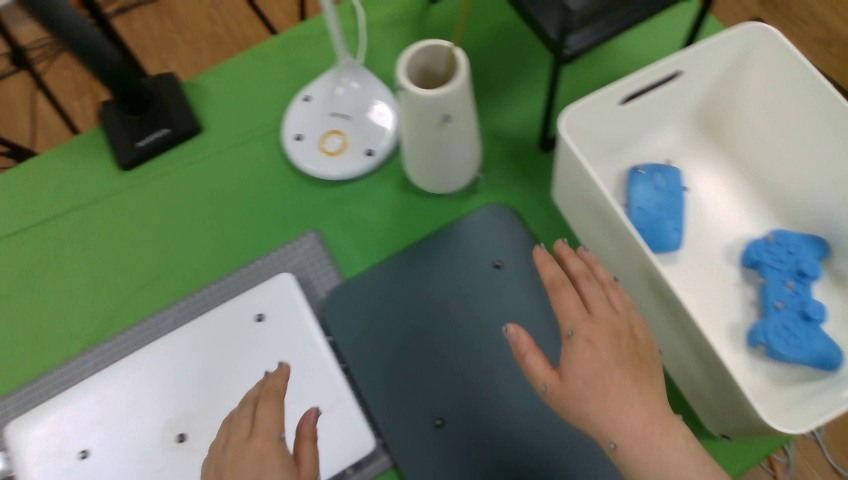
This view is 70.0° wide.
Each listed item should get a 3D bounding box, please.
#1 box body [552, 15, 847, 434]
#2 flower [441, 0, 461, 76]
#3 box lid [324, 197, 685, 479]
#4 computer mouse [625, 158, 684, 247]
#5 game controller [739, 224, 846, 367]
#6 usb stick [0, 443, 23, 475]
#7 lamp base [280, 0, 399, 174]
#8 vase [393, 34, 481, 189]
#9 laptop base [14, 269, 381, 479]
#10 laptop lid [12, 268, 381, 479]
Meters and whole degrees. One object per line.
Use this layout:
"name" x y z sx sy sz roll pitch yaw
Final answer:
"box body" 0.325 -0.013 0.625 0.254 0.161 0.361 -27 68 -5
"flower" 0.023 -0.180 0.613 0.038 0.364 0.043 -14 57 -18
"box lid" 0.075 0.142 0.666 0.263 0.015 0.368 -30 69 -8
"computer mouse" 0.268 -0.047 0.705 0.062 0.041 0.116 5 64 11
"game controller" 0.397 0.053 0.648 0.097 0.052 0.154 3 67 8
"usb stick" -0.455 0.238 0.658 0.059 0.027 0.021 -25 66 -11
"lamp base" -0.118 -0.199 0.733 0.160 0.181 0.178 2 65 6
"vase" 0.013 -0.139 0.686 0.098 0.201 0.097 -3 66 7
"laptop base" -0.251 0.209 0.666 0.354 0.023 0.234 -29 71 -7
"laptop lid" -0.250 0.206 0.654 0.357 0.013 0.240 -28 70 -6
